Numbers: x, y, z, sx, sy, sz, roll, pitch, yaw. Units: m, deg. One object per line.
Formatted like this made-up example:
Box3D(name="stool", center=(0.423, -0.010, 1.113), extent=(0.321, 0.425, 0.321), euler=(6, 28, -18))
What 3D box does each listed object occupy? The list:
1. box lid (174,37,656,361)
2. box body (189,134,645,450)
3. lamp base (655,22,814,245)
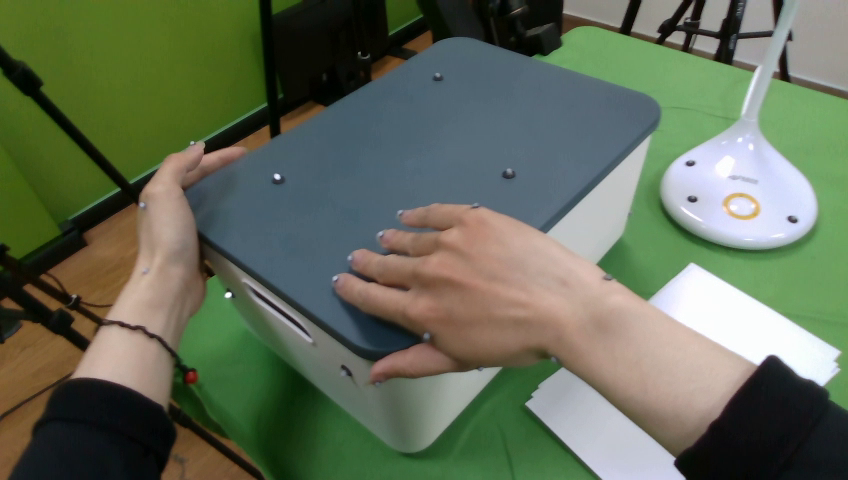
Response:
Box3D(name="box lid", center=(0.001, -0.072, 0.521), extent=(0.261, 0.015, 0.371), euler=(29, 54, 31))
Box3D(name="box body", center=(0.008, -0.019, 0.575), extent=(0.252, 0.162, 0.363), euler=(29, 55, 31))
Box3D(name="lamp base", center=(0.335, -0.116, 0.623), extent=(0.160, 0.182, 0.178), euler=(5, 43, 11))
